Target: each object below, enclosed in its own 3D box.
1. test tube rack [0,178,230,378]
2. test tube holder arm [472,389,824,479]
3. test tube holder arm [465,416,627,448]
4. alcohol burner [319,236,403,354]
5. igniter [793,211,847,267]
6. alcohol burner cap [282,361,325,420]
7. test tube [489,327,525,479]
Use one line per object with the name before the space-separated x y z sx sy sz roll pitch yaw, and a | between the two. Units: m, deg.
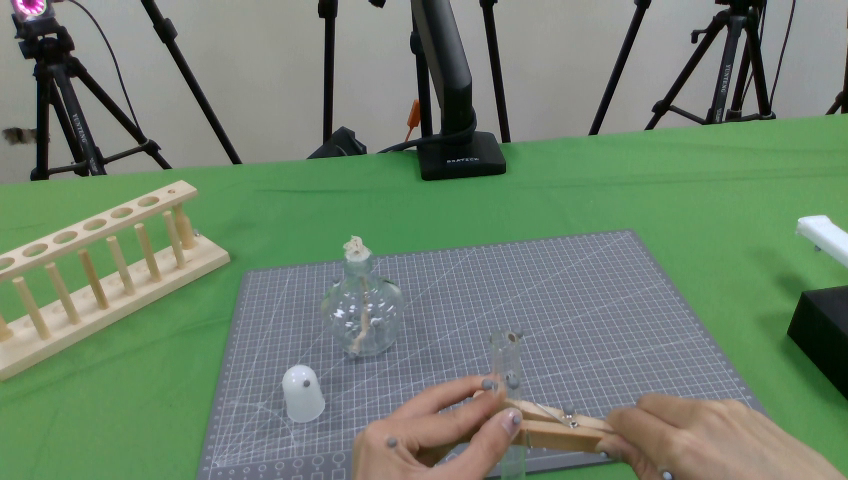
test tube rack | -0.331 0.029 0.621 0.066 0.086 0.242 27 44 35
test tube holder arm | 0.110 0.106 0.325 0.177 0.015 0.013 7 38 23
test tube holder arm | 0.066 0.106 0.336 0.087 0.015 0.010 -2 35 12
alcohol burner | -0.058 0.044 0.546 0.078 0.120 0.077 -1 36 1
igniter | 0.406 0.048 0.501 0.057 0.025 0.273 -7 32 -4
alcohol burner cap | -0.101 0.121 0.501 0.034 0.048 0.033 -1 35 1
test tube | 0.050 0.112 0.354 0.017 0.151 0.017 -6 33 4
